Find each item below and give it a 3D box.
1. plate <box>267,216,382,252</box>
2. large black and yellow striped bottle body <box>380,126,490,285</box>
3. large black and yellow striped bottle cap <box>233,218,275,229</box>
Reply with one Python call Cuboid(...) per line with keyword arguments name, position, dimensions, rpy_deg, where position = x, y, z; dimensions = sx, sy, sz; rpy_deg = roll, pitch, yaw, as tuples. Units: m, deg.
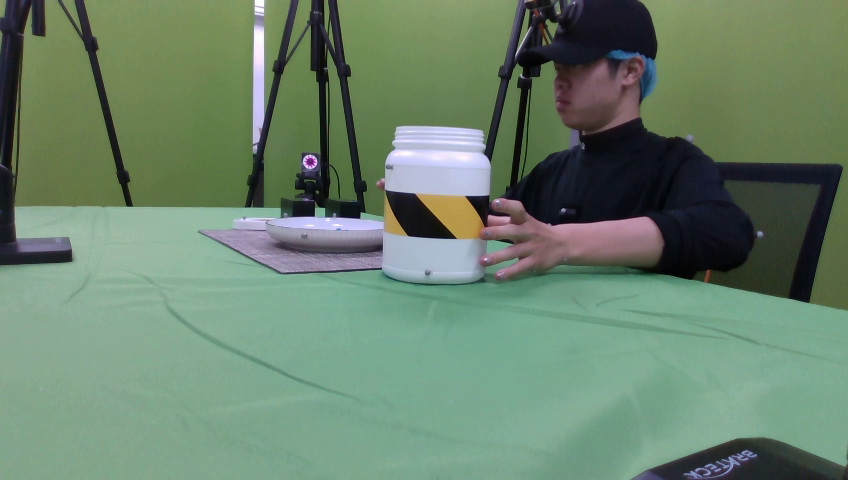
Cuboid(name="plate", position=(-0.145, -0.010, 0.967), dimensions=(0.208, 0.039, 0.207), rpy_deg=(2, 7, 0))
Cuboid(name="large black and yellow striped bottle body", position=(0.013, -0.044, 0.747), dimensions=(0.131, 0.184, 0.130), rpy_deg=(3, 7, 0))
Cuboid(name="large black and yellow striped bottle cap", position=(-0.311, -0.032, 1.172), dimensions=(0.115, 0.019, 0.115), rpy_deg=(1, 4, 0))
